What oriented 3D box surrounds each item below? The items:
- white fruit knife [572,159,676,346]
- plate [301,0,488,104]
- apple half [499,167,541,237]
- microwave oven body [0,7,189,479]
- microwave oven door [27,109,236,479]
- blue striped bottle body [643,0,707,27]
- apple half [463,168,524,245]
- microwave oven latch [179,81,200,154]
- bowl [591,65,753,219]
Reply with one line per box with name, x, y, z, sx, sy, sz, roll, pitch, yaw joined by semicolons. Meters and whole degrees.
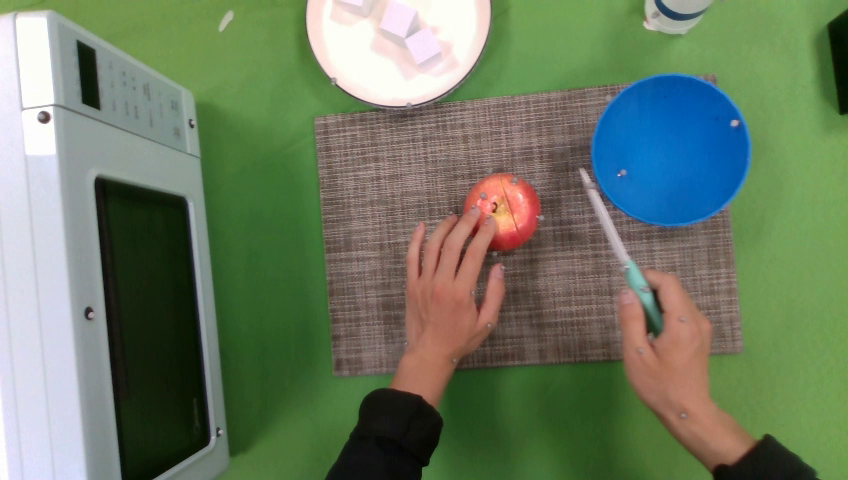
white fruit knife;0.178;0.016;0.538;0.016;0.027;0.209;-34;108;-3
plate;-0.032;-0.253;0.681;0.207;0.039;0.207;0;89;6
apple half;0.106;-0.044;0.639;0.033;0.081;0.081;-20;87;11
microwave oven body;-0.413;0.053;0.600;0.326;0.260;0.441;-7;89;5
microwave oven door;-0.264;0.077;0.580;0.039;0.244;0.355;-7;88;6
blue striped bottle body;0.265;-0.266;0.607;0.063;0.121;0.063;0;88;6
apple half;0.070;-0.031;0.645;0.053;0.075;0.081;-20;91;12
microwave oven latch;-0.275;-0.137;0.686;0.030;0.029;0.079;-7;89;5
bowl;0.243;-0.094;0.624;0.151;0.077;0.151;0;89;7
